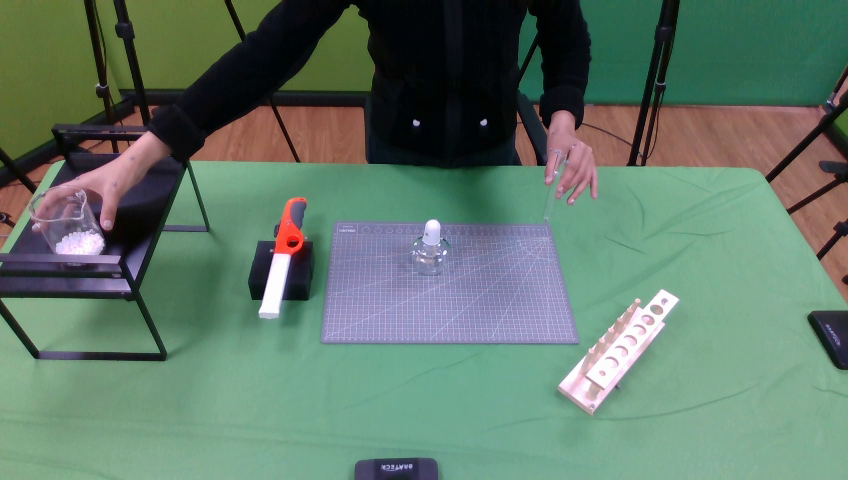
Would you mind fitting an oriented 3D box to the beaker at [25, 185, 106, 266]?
[{"bbox_3d":[-0.507,-0.017,0.872,0.084,0.101,0.074,23,49,17],"label":"beaker"}]

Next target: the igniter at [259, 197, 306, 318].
[{"bbox_3d":[-0.252,0.021,1.088,0.057,0.025,0.275,4,48,-2],"label":"igniter"}]

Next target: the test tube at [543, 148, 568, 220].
[{"bbox_3d":[0.220,-0.091,1.021,0.017,0.151,0.017,2,45,-1],"label":"test tube"}]

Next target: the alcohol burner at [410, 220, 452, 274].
[{"bbox_3d":[0.013,0.008,1.120,0.078,0.120,0.077,1,48,-1],"label":"alcohol burner"}]

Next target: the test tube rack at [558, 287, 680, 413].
[{"bbox_3d":[0.327,0.170,1.009,0.066,0.085,0.242,36,54,26],"label":"test tube rack"}]

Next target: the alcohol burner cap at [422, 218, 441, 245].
[{"bbox_3d":[0.015,-0.018,1.094,0.034,0.048,0.033,3,43,-3],"label":"alcohol burner cap"}]
